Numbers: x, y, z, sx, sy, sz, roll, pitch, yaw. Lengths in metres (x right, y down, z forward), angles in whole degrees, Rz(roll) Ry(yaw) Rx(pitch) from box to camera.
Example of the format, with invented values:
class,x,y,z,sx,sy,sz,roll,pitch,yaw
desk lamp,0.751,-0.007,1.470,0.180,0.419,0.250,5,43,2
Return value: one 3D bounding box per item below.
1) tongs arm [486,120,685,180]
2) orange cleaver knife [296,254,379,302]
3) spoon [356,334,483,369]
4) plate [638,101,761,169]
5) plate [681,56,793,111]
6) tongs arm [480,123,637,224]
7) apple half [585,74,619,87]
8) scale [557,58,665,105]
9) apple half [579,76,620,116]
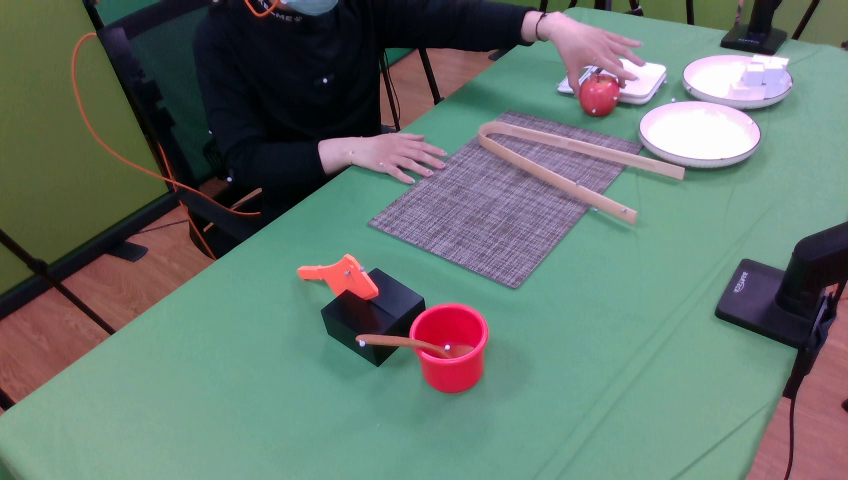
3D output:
class,x,y,z,sx,sy,sz,roll,pitch,yaw
tongs arm,0.288,-0.171,1.123,0.384,0.028,0.028,21,53,29
orange cleaver knife,-0.128,0.058,0.874,0.012,0.077,0.210,-39,16,-30
spoon,-0.001,0.130,0.731,0.195,0.021,0.041,21,27,-39
plate,0.500,-0.189,1.111,0.209,0.038,0.208,-4,41,4
plate,0.636,-0.317,1.239,0.207,0.039,0.206,-4,40,4
tongs arm,0.228,-0.128,1.080,0.051,0.026,0.381,-33,46,-25
apple half,0.366,-0.310,1.243,0.081,0.081,0.033,16,49,25
scale,0.407,-0.348,1.314,0.199,0.032,0.149,19,47,28
apple half,0.347,-0.285,1.218,0.080,0.075,0.053,19,50,23
